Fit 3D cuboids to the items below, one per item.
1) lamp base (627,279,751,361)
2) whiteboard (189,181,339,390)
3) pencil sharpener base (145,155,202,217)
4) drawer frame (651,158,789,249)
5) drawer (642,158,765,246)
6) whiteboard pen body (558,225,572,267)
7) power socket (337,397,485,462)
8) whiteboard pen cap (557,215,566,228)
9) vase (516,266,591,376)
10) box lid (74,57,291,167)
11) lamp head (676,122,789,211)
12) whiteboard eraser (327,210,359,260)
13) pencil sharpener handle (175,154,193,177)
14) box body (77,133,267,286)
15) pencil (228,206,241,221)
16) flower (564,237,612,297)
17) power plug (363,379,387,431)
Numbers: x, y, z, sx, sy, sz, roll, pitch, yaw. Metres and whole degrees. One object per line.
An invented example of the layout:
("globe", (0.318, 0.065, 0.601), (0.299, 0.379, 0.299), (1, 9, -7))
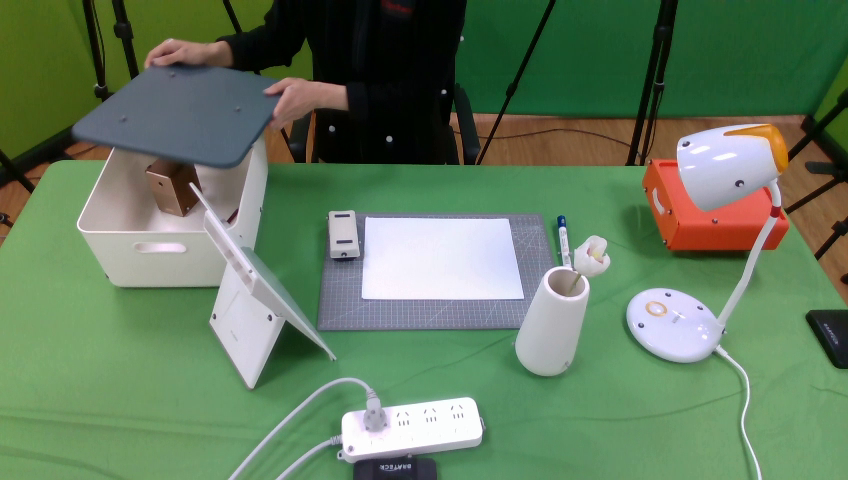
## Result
("lamp base", (0.459, 0.100, 1.027), (0.178, 0.181, 0.160), (27, 51, 17))
("whiteboard", (-0.292, 0.096, 0.929), (0.144, 0.307, 0.216), (-37, 57, -10))
("pencil sharpener base", (-0.491, -0.112, 1.200), (0.061, 0.107, 0.076), (14, 47, 12))
("drawer frame", (0.571, -0.075, 1.214), (0.214, 0.083, 0.200), (0, 46, -1))
("drawer", (0.565, -0.076, 1.211), (0.212, 0.073, 0.193), (2, 45, -2))
("whiteboard pen body", (0.280, 0.010, 1.207), (0.017, 0.017, 0.140), (3, 50, -1))
("power socket", (-0.018, 0.285, 0.915), (0.227, 0.033, 0.071), (-5, 46, -8))
("whiteboard pen cap", (0.284, -0.035, 1.246), (0.018, 0.018, 0.033), (4, 52, -1))
("vase", (0.208, 0.132, 0.964), (0.098, 0.201, 0.097), (3, 46, -3))
("box lid", (-0.406, -0.238, 1.079), (0.263, 0.015, 0.369), (11, 35, -3))
("lamp head", (0.423, -0.104, 0.819), (0.122, 0.113, 0.112), (-13, 33, 40))
("whiteboard eraser", (-0.158, -0.009, 1.176), (0.055, 0.042, 0.112), (-5, 47, -7))
("pencil sharpener handle", (-0.479, -0.156, 1.226), (0.036, 0.068, 0.030), (28, 47, -4))
("box body", (-0.446, -0.088, 1.150), (0.254, 0.161, 0.361), (-1, 46, -5))
("pencil", (-0.402, -0.008, 1.176), (0.012, 0.012, 0.193), (14, 44, 9))
("flower", (0.206, 0.088, 0.893), (0.038, 0.363, 0.044), (-16, 67, -9))
("power plug", (-0.072, 0.252, 0.910), (0.035, 0.053, 0.072), (3, 45, -1))
